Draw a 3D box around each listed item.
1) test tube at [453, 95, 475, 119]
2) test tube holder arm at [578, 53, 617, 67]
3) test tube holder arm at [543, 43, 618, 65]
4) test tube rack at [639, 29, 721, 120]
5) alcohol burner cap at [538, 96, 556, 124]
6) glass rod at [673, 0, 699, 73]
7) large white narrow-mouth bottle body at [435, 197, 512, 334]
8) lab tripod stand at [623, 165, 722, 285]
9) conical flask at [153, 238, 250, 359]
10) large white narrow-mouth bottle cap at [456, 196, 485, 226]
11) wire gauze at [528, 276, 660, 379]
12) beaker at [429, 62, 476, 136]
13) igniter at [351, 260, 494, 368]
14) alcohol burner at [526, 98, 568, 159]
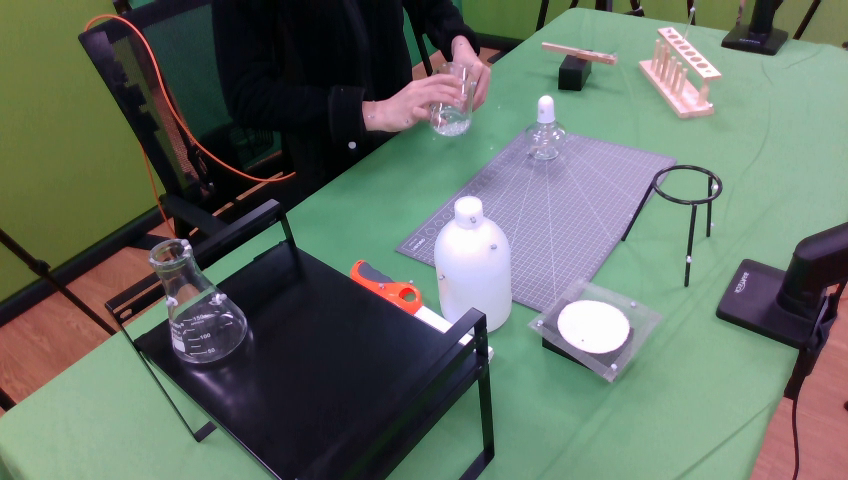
[{"bbox_3d":[0.075,-0.245,1.119,0.017,0.017,0.151,4,2,15],"label":"test tube"},{"bbox_3d":[0.376,-0.393,1.314,0.087,0.015,0.010,26,51,32],"label":"test tube holder arm"},{"bbox_3d":[0.345,-0.413,1.340,0.177,0.015,0.013,25,50,31],"label":"test tube holder arm"},{"bbox_3d":[0.527,-0.351,1.262,0.067,0.085,0.241,-8,40,1],"label":"test tube rack"},{"bbox_3d":[0.222,-0.237,1.095,0.034,0.048,0.033,-7,35,5],"label":"alcohol burner cap"},{"bbox_3d":[0.538,-0.425,1.245,0.008,0.200,0.008,0,47,0],"label":"glass rod"},{"bbox_3d":[0.066,0.028,0.805,0.102,0.195,0.101,-4,40,4],"label":"large white narrow-mouth bottle body"},{"bbox_3d":[0.365,-0.030,0.875,0.148,0.132,0.147,-6,41,6],"label":"lab tripod stand"},{"bbox_3d":[-0.225,0.055,0.597,0.075,0.122,0.075,-5,41,4],"label":"conical flask"},{"bbox_3d":[0.057,-0.036,0.749,0.038,0.024,0.037,-4,40,4],"label":"large white narrow-mouth bottle cap"},{"bbox_3d":[0.214,0.103,0.763,0.124,0.011,0.122,30,52,35],"label":"wire gauze"},{"bbox_3d":[0.047,-0.227,0.992,0.074,0.084,0.100,2,58,7],"label":"beaker"},{"bbox_3d":[-0.013,0.098,0.864,0.274,0.025,0.057,30,65,36],"label":"igniter"},{"bbox_3d":[0.228,-0.210,1.118,0.078,0.119,0.077,-5,43,5],"label":"alcohol burner"}]
